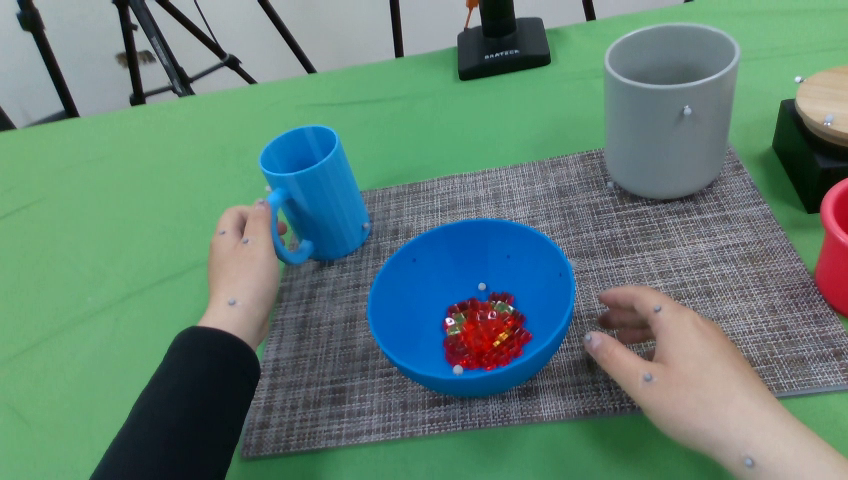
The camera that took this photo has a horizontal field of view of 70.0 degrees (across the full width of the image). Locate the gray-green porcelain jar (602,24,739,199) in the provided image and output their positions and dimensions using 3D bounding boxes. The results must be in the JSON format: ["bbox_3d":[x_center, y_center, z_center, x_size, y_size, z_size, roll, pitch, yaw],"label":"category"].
[{"bbox_3d":[0.215,-0.109,0.542,0.106,0.128,0.105,-9,44,9],"label":"gray-green porcelain jar"}]

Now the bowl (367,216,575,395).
[{"bbox_3d":[0.039,0.060,0.456,0.151,0.077,0.150,-9,43,9],"label":"bowl"}]

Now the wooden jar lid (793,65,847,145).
[{"bbox_3d":[0.370,-0.112,0.506,0.108,0.021,0.107,-10,43,9],"label":"wooden jar lid"}]

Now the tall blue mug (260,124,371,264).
[{"bbox_3d":[-0.103,-0.035,0.577,0.078,0.109,0.106,-8,44,8],"label":"tall blue mug"}]

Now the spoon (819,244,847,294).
[{"bbox_3d":[0.356,-0.030,0.408,0.022,0.194,0.041,24,31,-23],"label":"spoon"}]
